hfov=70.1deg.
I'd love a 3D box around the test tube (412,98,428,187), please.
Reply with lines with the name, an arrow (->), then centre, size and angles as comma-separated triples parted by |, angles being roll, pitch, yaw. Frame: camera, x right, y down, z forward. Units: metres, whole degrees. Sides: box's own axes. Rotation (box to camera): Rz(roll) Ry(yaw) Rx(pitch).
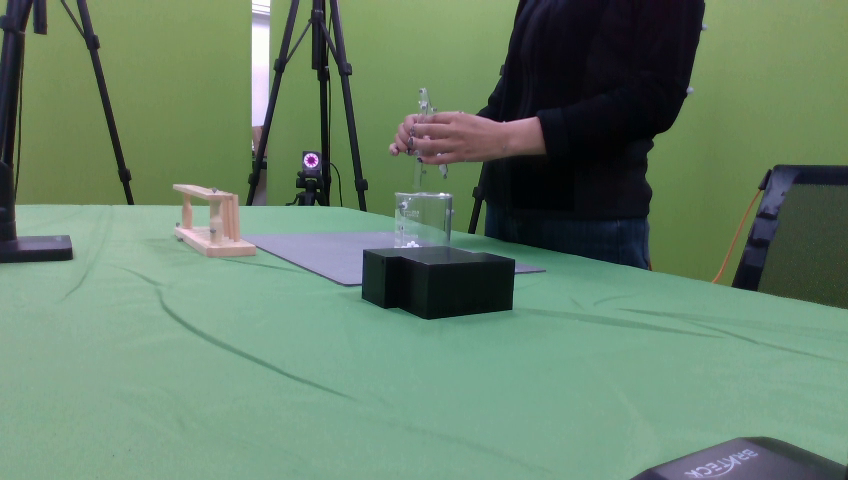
test tube -> -0.007, -0.158, 0.996 | 0.017, 0.150, 0.017 | 4, 26, -2

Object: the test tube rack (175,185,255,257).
test tube rack -> -0.324, -0.035, 0.922 | 0.067, 0.085, 0.241 | -2, 9, -31

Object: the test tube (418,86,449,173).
test tube -> 0.016, -0.184, 1.005 | 0.017, 0.150, 0.017 | -15, -5, -1

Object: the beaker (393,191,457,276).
beaker -> -0.003, -0.010, 0.749 | 0.074, 0.100, 0.083 | -3, 8, -40
